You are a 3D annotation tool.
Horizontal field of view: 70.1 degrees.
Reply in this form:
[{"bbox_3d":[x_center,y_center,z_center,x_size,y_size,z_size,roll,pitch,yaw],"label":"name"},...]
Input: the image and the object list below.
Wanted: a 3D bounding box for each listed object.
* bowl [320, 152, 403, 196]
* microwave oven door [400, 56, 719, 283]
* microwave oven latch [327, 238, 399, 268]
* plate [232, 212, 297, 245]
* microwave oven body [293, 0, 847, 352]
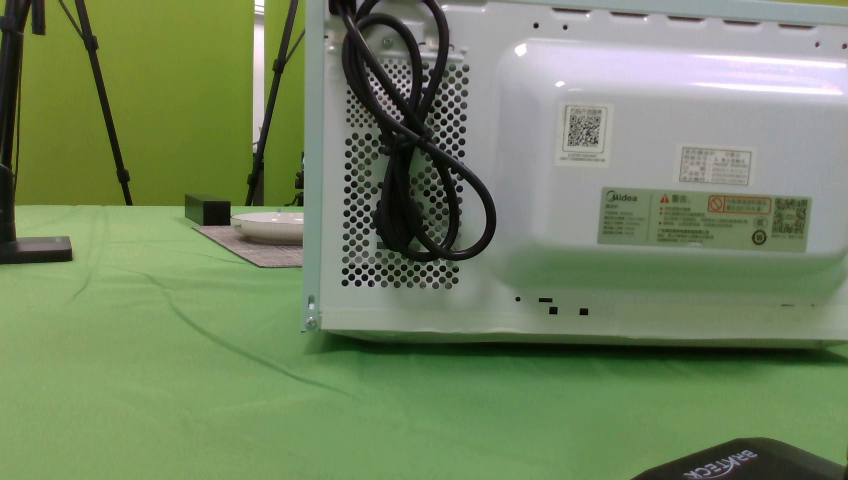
[{"bbox_3d":[-0.113,-0.120,1.097,0.151,0.077,0.151,1,7,0],"label":"bowl"},{"bbox_3d":[0.155,-0.078,0.698,0.356,0.243,0.039,2,8,-5],"label":"microwave oven door"},{"bbox_3d":[-0.069,0.015,0.694,0.079,0.029,0.030,3,7,-3],"label":"microwave oven latch"},{"bbox_3d":[-0.214,-0.019,1.018,0.208,0.039,0.207,3,7,0],"label":"plate"},{"bbox_3d":[0.122,-0.055,0.550,0.442,0.260,0.325,3,7,-5],"label":"microwave oven body"}]
